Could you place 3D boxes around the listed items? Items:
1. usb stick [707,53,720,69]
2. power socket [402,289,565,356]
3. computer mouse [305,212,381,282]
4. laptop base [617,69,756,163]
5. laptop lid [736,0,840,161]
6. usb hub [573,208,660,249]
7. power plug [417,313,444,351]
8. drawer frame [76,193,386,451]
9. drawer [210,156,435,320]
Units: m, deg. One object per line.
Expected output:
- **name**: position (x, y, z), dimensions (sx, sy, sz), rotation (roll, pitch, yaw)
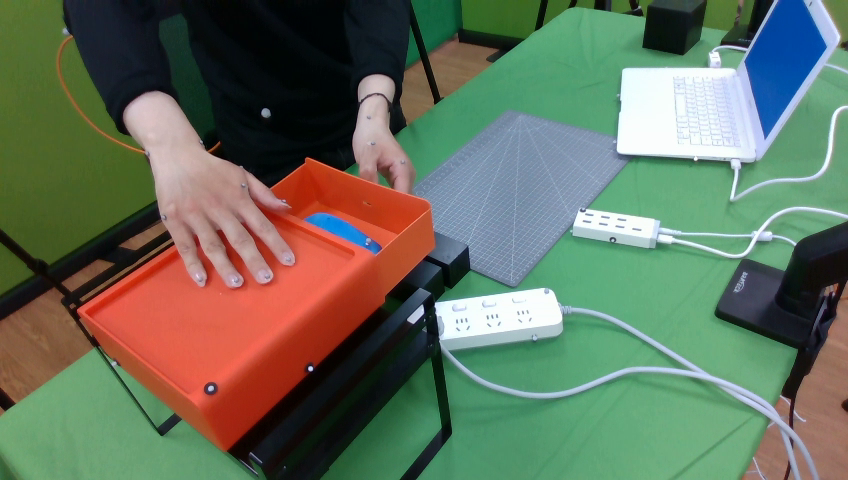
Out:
- **usb stick**: position (0.629, -0.382, 1.313), dimensions (0.021, 0.027, 0.059), rotation (2, 45, 17)
- **power socket**: position (0.081, 0.112, 0.822), dimensions (0.227, 0.033, 0.072), rotation (-7, 41, -1)
- **computer mouse**: position (-0.106, 0.005, 0.681), dimensions (0.116, 0.041, 0.063), rotation (25, 46, 26)
- **laptop base**: position (0.509, -0.255, 1.201), dimensions (0.234, 0.023, 0.353), rotation (4, 41, 16)
- **laptop lid**: position (0.641, -0.327, 1.090), dimensions (0.013, 0.242, 0.356), rotation (17, 43, 5)
- **usb hub**: position (0.302, -0.019, 0.950), dimensions (0.124, 0.025, 0.049), rotation (11, 43, 20)
- **power plug**: position (0.007, 0.127, 0.786), dimensions (0.035, 0.053, 0.072), rotation (1, 43, 9)
- **drawer frame**: position (-0.182, 0.064, 0.599), dimensions (0.200, 0.083, 0.214), rotation (23, 50, 30)
- **drawer**: position (-0.126, 0.010, 0.656), dimensions (0.193, 0.073, 0.212), rotation (23, 49, 30)
